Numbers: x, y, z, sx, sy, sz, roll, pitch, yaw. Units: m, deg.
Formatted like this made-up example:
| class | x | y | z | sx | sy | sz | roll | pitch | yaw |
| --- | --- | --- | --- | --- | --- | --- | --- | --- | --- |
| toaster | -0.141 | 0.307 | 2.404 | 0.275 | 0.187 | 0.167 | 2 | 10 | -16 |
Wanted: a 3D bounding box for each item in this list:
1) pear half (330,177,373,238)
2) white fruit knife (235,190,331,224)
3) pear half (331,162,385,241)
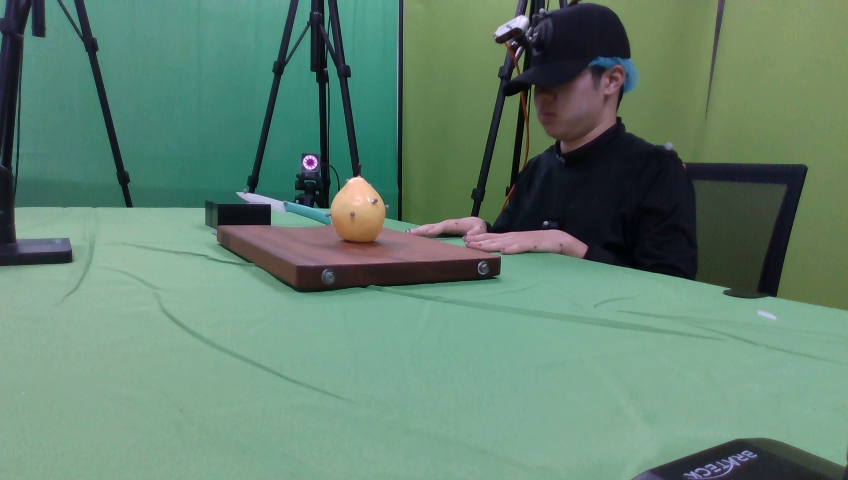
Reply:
| class | x | y | z | sx | sy | sz | roll | pitch | yaw |
| --- | --- | --- | --- | --- | --- | --- | --- | --- | --- |
| pear half | -0.109 | -0.047 | 0.866 | 0.031 | 0.088 | 0.071 | 8 | 12 | 43 |
| white fruit knife | -0.286 | -0.070 | 1.245 | 0.208 | 0.027 | 0.016 | 15 | -4 | -30 |
| pear half | -0.085 | -0.052 | 0.839 | 0.055 | 0.110 | 0.077 | 10 | 14 | 42 |
